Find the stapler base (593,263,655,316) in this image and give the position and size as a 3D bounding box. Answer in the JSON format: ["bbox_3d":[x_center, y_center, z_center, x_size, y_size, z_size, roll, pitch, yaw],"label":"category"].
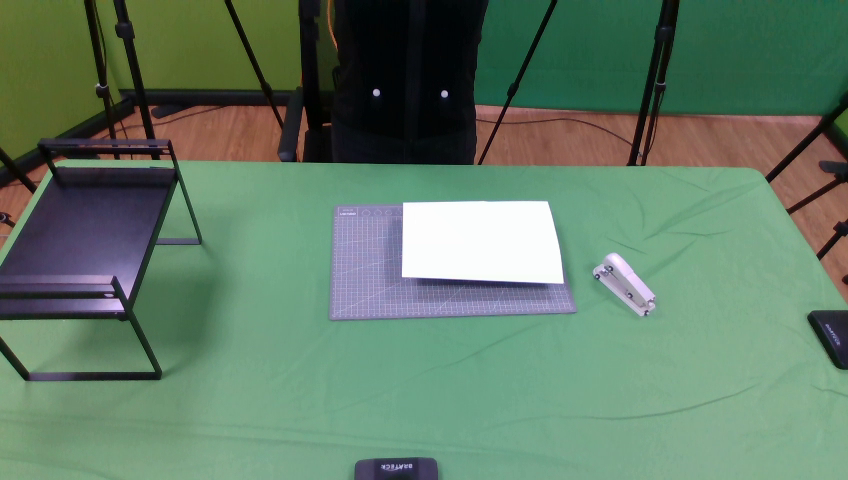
[{"bbox_3d":[0.377,0.086,1.141,0.041,0.024,0.130,-27,55,-23],"label":"stapler base"}]

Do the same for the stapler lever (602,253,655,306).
[{"bbox_3d":[0.379,0.070,1.123,0.027,0.040,0.117,-28,54,-23],"label":"stapler lever"}]
